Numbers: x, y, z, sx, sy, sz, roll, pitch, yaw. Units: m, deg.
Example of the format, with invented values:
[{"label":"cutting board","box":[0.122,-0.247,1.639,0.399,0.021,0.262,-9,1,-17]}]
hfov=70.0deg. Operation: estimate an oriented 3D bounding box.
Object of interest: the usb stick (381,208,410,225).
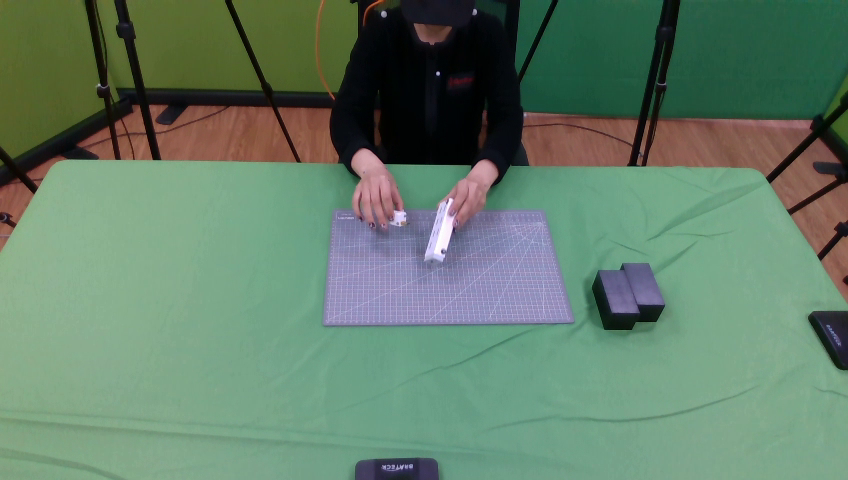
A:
[{"label":"usb stick","box":[-0.053,-0.044,1.171,0.059,0.027,0.021,16,19,31]}]

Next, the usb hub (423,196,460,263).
[{"label":"usb hub","box":[0.034,-0.019,1.155,0.025,0.049,0.124,22,72,-17]}]
